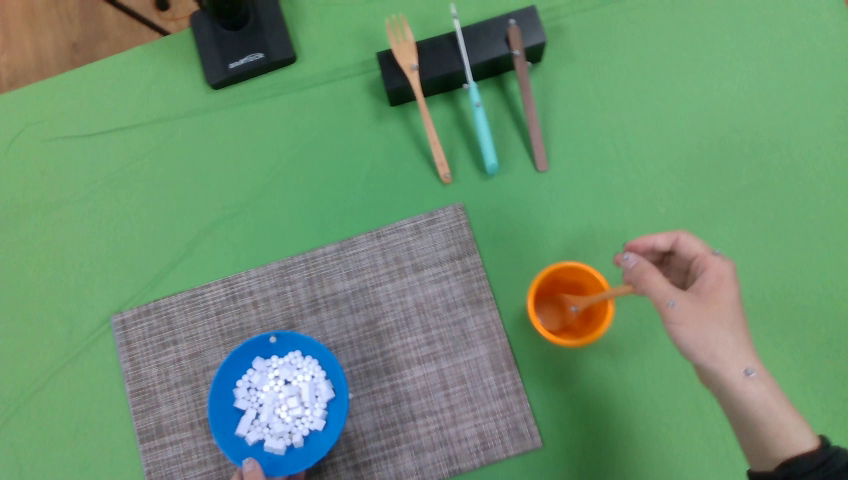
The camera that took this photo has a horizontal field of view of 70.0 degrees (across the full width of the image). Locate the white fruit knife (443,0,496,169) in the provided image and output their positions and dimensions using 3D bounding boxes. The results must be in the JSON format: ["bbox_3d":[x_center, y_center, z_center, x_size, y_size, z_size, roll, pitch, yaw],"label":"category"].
[{"bbox_3d":[0.052,-0.186,0.724,0.016,0.027,0.207,-17,96,-2],"label":"white fruit knife"}]

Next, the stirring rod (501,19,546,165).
[{"bbox_3d":[0.121,-0.176,0.729,0.014,0.006,0.176,-16,99,-1],"label":"stirring rod"}]

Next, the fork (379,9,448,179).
[{"bbox_3d":[-0.009,-0.171,0.727,0.028,0.018,0.208,-20,99,-3],"label":"fork"}]

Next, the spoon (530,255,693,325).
[{"bbox_3d":[0.192,0.053,0.643,0.022,0.193,0.041,-7,76,-43],"label":"spoon"}]

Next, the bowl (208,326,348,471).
[{"bbox_3d":[-0.152,0.172,0.675,0.151,0.077,0.151,-1,80,4],"label":"bowl"}]
